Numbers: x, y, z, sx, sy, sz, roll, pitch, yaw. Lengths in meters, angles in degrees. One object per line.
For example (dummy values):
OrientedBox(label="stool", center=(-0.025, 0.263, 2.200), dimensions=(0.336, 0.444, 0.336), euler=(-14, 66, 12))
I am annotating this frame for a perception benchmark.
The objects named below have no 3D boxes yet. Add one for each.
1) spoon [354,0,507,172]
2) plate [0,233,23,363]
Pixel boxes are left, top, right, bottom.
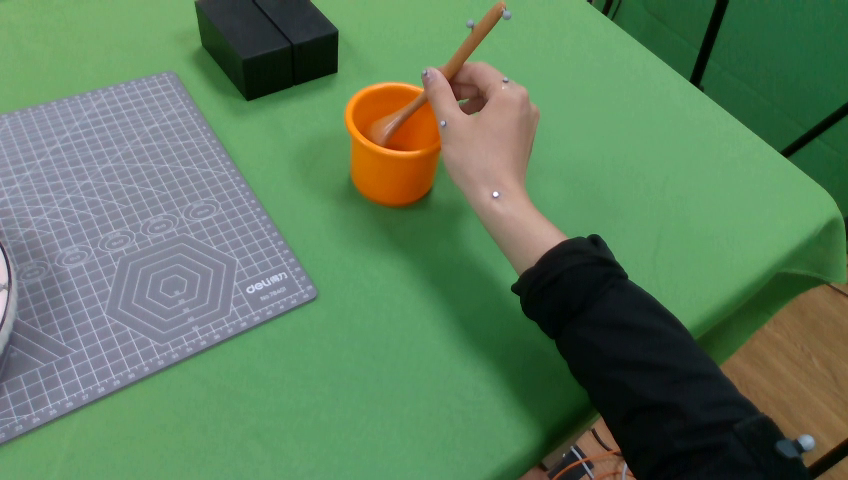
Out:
OrientedBox(label="spoon", center=(-0.001, -0.124, 0.497), dimensions=(0.022, 0.194, 0.041), euler=(23, 40, -41))
OrientedBox(label="plate", center=(-0.369, 0.059, 0.384), dimensions=(0.209, 0.038, 0.207), euler=(5, 53, -7))
